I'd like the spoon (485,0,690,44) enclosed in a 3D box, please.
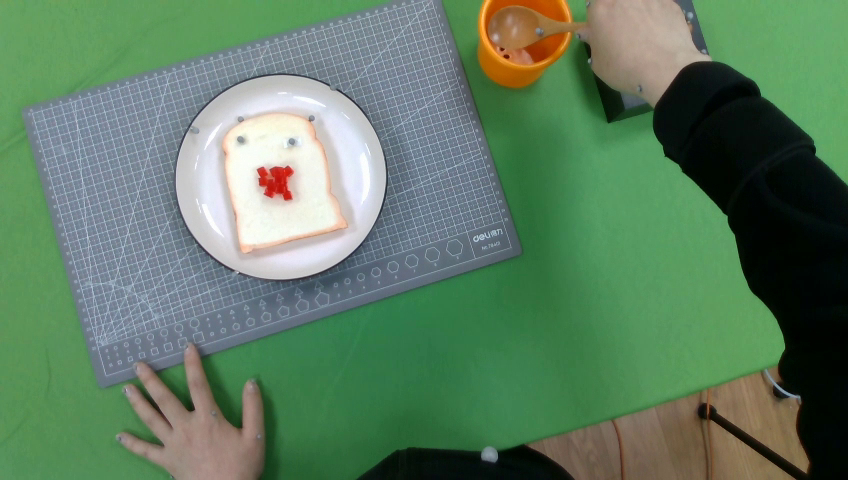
[{"bbox_3d":[0.140,-0.197,0.548,0.192,0.022,0.042,17,108,38],"label":"spoon"}]

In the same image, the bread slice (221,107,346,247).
[{"bbox_3d":[-0.149,-0.067,0.613,0.107,0.018,0.134,-17,87,-5],"label":"bread slice"}]

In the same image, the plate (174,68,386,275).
[{"bbox_3d":[-0.141,-0.068,0.612,0.209,0.038,0.208,0,86,-3],"label":"plate"}]
